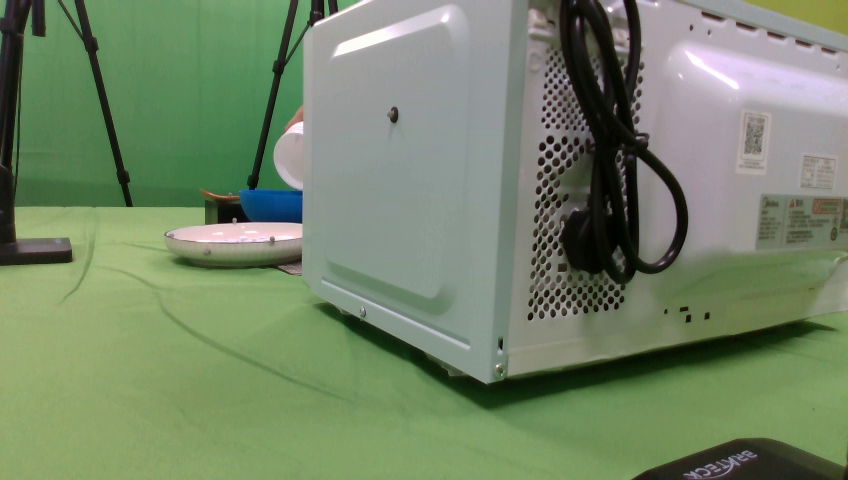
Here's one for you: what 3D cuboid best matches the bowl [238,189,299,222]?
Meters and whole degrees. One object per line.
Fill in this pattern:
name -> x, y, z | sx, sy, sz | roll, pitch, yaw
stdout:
bowl -> -0.245, -0.046, 1.053 | 0.151, 0.077, 0.151 | 3, 8, 0

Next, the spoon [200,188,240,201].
spoon -> -0.338, -0.080, 1.190 | 0.194, 0.021, 0.041 | 5, 3, -19

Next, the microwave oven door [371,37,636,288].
microwave oven door -> 0.109, -0.080, 0.686 | 0.358, 0.243, 0.039 | -2, 9, -33

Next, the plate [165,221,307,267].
plate -> -0.241, 0.004, 0.829 | 0.209, 0.038, 0.209 | 0, 9, 0

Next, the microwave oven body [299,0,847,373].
microwave oven body -> 0.151, -0.055, 0.542 | 0.444, 0.260, 0.324 | -2, 7, -33

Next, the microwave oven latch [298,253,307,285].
microwave oven latch -> -0.081, 0.027, 0.582 | 0.079, 0.029, 0.030 | -1, 7, -32

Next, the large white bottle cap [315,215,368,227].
large white bottle cap -> -0.177, -0.042, 1.309 | 0.115, 0.018, 0.115 | 2, 6, 0

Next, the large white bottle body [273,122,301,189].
large white bottle body -> -0.193, -0.172, 1.161 | 0.130, 0.130, 0.185 | 5, 23, 20
